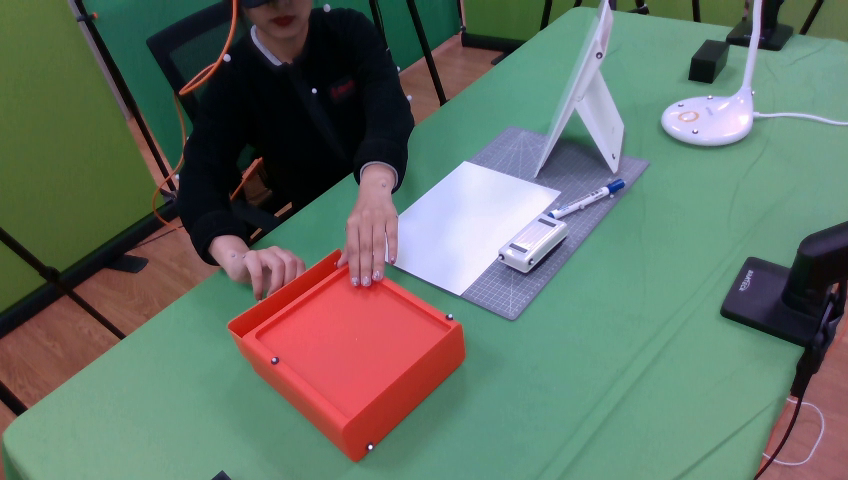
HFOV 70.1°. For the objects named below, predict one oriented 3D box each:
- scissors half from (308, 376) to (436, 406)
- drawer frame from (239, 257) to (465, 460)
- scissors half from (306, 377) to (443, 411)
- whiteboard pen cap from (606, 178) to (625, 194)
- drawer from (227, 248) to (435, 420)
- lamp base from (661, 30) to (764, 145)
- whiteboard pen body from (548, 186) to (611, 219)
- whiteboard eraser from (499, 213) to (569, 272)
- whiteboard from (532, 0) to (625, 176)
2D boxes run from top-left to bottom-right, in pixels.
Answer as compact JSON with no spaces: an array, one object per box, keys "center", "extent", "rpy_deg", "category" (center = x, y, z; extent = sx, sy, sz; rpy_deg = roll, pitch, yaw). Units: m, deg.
[{"center":[-0.061,0.197,0.762],"extent":[0.176,0.040,0.012],"rpy_deg":[12,27,-25],"category":"scissors half"},{"center":[-0.091,0.140,0.786],"extent":[0.212,0.083,0.202],"rpy_deg":[28,52,35],"category":"drawer frame"},{"center":[-0.059,0.187,0.756],"extent":[0.176,0.040,0.012],"rpy_deg":[-4,39,-17],"category":"scissors half"},{"center":[0.320,-0.090,1.016],"extent":[0.033,0.018,0.018],"rpy_deg":[-27,43,-13],"category":"whiteboard pen cap"},{"center":[-0.120,0.124,0.810],"extent":[0.210,0.073,0.195],"rpy_deg":[29,52,36],"category":"drawer"},{"center":[0.535,-0.287,1.096],"extent":[0.179,0.181,0.159],"rpy_deg":[-10,40,-4],"category":"lamp base"},{"center":[0.267,-0.066,1.004],"extent":[0.141,0.017,0.017],"rpy_deg":[-25,43,-13],"category":"whiteboard pen body"},{"center":[0.168,0.006,0.923],"extent":[0.055,0.042,0.113],"rpy_deg":[29,53,34],"category":"whiteboard eraser"},{"center":[0.320,-0.259,1.050],"extent":[0.144,0.306,0.217],"rpy_deg":[21,45,5],"category":"whiteboard"}]
